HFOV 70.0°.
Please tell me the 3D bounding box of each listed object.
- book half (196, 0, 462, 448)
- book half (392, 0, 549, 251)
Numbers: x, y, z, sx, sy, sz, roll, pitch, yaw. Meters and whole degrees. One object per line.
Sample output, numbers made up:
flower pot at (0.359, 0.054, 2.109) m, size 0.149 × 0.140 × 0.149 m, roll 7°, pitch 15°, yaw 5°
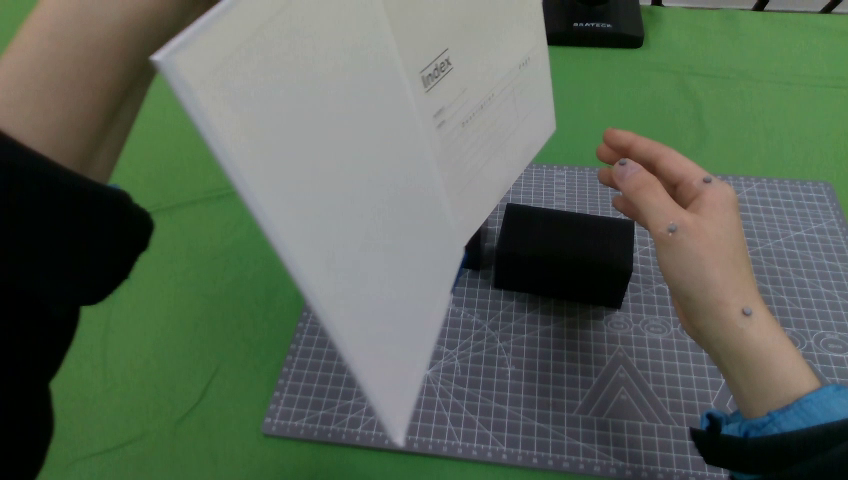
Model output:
book half at (-0.019, -0.020, 0.280) m, size 0.007 × 0.212 × 0.142 m, roll 2°, pitch 44°, yaw 20°
book half at (0.032, -0.116, 0.371) m, size 0.016 × 0.212 × 0.148 m, roll 14°, pitch 50°, yaw 34°
